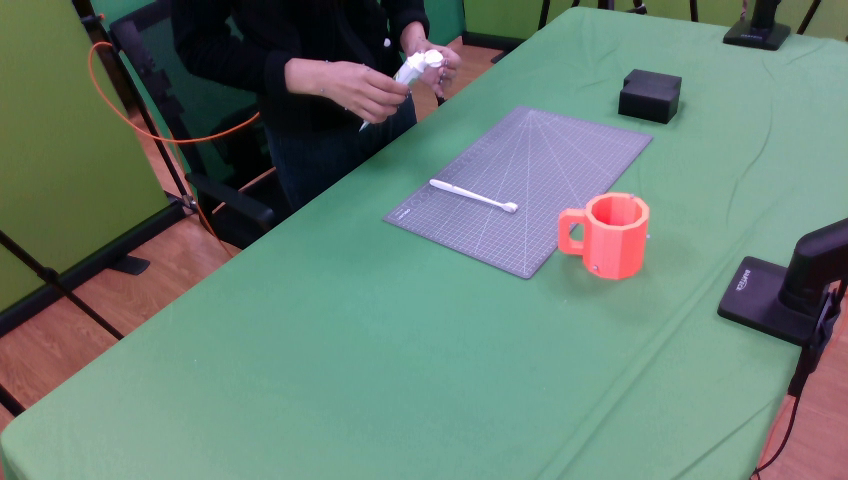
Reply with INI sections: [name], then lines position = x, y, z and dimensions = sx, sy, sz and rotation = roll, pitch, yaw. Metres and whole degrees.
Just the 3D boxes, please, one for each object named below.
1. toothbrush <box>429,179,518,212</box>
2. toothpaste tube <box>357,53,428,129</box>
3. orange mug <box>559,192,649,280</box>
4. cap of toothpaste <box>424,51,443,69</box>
[toothbrush]
position = 0.084, -0.081, 1.062
dimensions = 0.180, 0.014, 0.017
rotation = 21, 44, 30
[toothpaste tube]
position = -0.054, -0.250, 1.018
dimensions = 0.164, 0.034, 0.055
rotation = -43, 3, 22
[orange mug]
position = 0.261, -0.008, 0.884
dimensions = 0.126, 0.101, 0.083
rotation = 9, 43, 14
[cap of toothpaste]
position = 0.015, -0.303, 1.010
dimensions = 0.037, 0.011, 0.037
rotation = 3, 63, -6
